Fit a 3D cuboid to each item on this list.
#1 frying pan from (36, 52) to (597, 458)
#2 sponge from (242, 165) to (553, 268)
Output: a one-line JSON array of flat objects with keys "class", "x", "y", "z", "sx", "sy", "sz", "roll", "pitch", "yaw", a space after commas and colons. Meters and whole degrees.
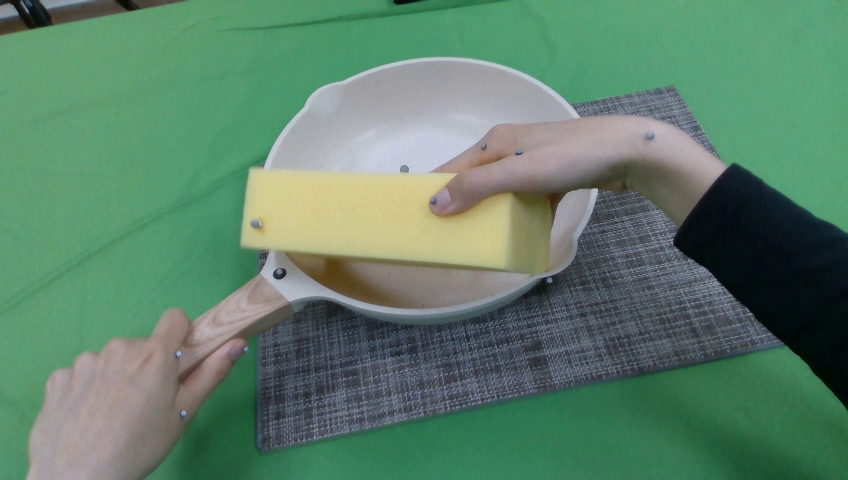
[{"class": "frying pan", "x": -0.073, "y": 0.002, "z": 0.500, "sx": 0.488, "sy": 0.103, "sz": 0.304, "roll": -36, "pitch": 58, "yaw": -27}, {"class": "sponge", "x": -0.017, "y": -0.015, "z": 0.463, "sx": 0.206, "sy": 0.119, "sz": 0.061, "roll": 2, "pitch": 86, "yaw": 23}]
